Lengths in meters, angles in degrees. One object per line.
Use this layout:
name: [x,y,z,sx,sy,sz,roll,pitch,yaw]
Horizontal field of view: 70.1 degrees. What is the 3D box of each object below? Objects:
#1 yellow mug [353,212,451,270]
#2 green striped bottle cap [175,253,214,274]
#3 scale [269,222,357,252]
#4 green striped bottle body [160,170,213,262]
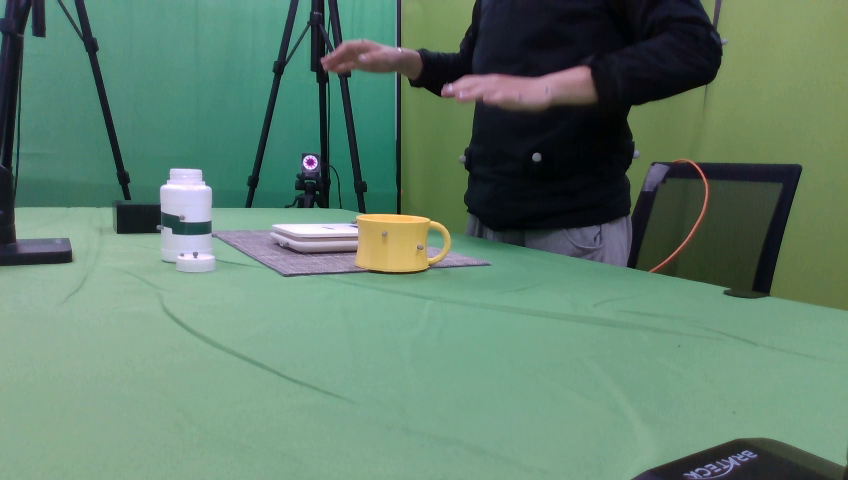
yellow mug: [-0.027,0.000,0.807,0.131,0.064,0.099,2,8,-13]
green striped bottle cap: [-0.280,0.029,0.740,0.044,0.020,0.044,7,3,0]
scale: [-0.132,-0.007,0.965,0.202,0.031,0.148,-2,8,-31]
green striped bottle body: [-0.312,-0.033,0.797,0.063,0.119,0.063,1,7,0]
